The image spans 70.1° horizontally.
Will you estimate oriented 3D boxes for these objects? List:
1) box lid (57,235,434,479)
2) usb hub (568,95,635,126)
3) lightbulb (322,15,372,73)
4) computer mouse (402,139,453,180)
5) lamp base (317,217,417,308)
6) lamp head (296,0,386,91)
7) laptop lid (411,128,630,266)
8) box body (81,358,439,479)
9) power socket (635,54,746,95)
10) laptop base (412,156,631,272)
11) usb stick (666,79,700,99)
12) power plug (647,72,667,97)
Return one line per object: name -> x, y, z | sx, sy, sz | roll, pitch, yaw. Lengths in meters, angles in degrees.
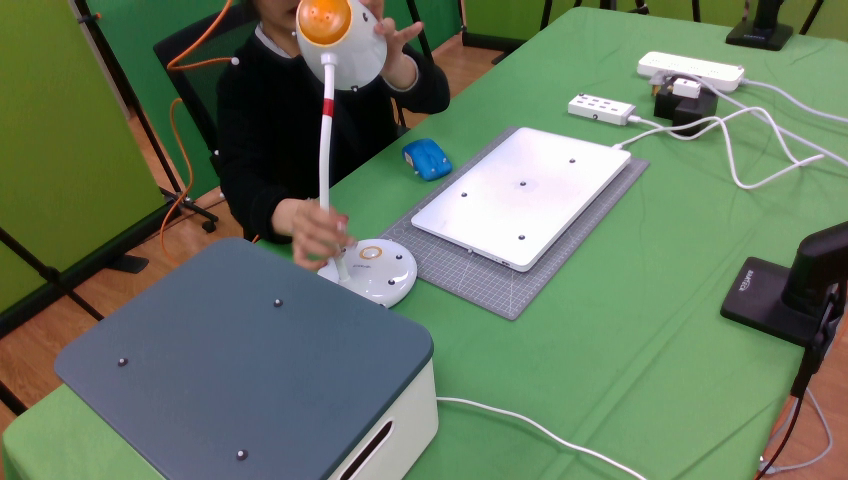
box lid -> -0.198, 0.123, 0.653 | 0.368, 0.015, 0.264 | 22, 49, 32
usb hub -> 0.360, -0.263, 1.228 | 0.124, 0.025, 0.049 | 24, 49, 34
lightbulb -> -0.104, -0.259, 0.789 | 0.059, 0.108, 0.059 | -2, 82, 12
computer mouse -> 0.005, -0.159, 1.165 | 0.063, 0.041, 0.116 | -21, 45, -17
lamp base -> -0.102, 0.005, 0.876 | 0.160, 0.181, 0.178 | -2, 44, 10
lamp head -> -0.113, -0.255, 0.765 | 0.112, 0.112, 0.123 | -4, 2, 7
laptop lid -> 0.172, -0.093, 1.049 | 0.239, 0.013, 0.358 | 24, 49, 36
box body -> -0.189, 0.178, 0.702 | 0.361, 0.161, 0.255 | 22, 49, 32
power socket -> 0.564, -0.357, 1.293 | 0.225, 0.033, 0.072 | 24, 51, 33
laptop base -> 0.176, -0.084, 1.055 | 0.233, 0.023, 0.355 | 21, 48, 36
usb stick -> 0.492, -0.288, 1.152 | 0.058, 0.027, 0.021 | 20, 50, 34
power plug -> 0.493, -0.321, 1.261 | 0.073, 0.052, 0.035 | 1, 20, -41
